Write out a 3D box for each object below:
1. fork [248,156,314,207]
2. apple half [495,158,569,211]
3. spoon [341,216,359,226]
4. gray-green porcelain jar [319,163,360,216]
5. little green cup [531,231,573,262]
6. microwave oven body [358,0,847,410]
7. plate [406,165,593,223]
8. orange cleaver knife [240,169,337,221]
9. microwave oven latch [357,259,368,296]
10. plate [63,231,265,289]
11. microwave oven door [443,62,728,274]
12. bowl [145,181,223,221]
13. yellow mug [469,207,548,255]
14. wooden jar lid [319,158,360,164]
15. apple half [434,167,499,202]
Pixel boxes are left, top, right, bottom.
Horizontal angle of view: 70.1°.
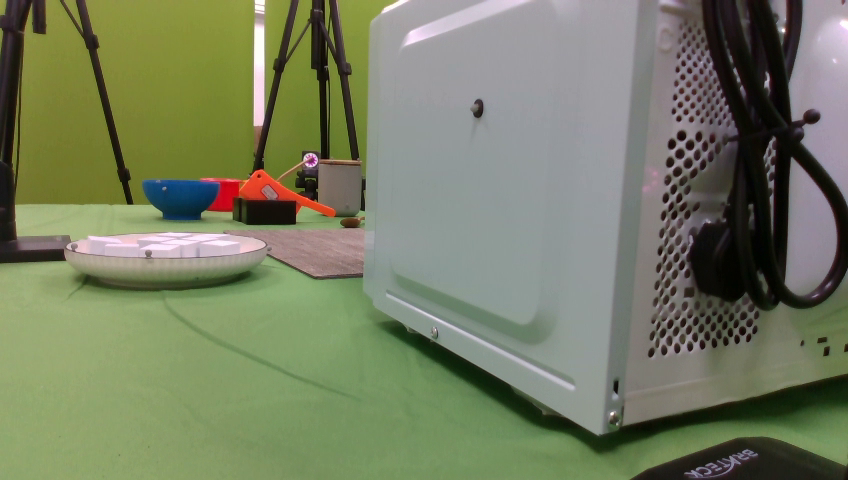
[{"bbox_3d":[-0.360,-0.147,1.523,0.207,0.019,0.028,-43,17,-6],"label":"fork"},{"bbox_3d":[0.122,-0.064,0.673,0.075,0.053,0.080,3,12,-12],"label":"apple half"},{"bbox_3d":[-0.132,-0.048,1.305,0.041,0.021,0.194,-14,4,14],"label":"spoon"},{"bbox_3d":[-0.204,-0.126,1.490,0.106,0.126,0.106,2,8,0],"label":"gray-green porcelain jar"},{"bbox_3d":[0.185,0.010,0.879,0.061,0.038,0.061,2,8,0],"label":"little green cup"},{"bbox_3d":[0.210,-0.051,0.471,0.444,0.260,0.324,-1,7,-28],"label":"microwave oven body"},{"bbox_3d":[0.083,-0.053,0.682,0.209,0.038,0.209,4,14,-1],"label":"plate"},{"bbox_3d":[-0.287,-0.081,1.299,0.212,0.077,0.012,25,-2,-31],"label":"orange cleaver knife"},{"bbox_3d":[-0.019,0.031,0.529,0.079,0.029,0.030,-1,7,-26],"label":"microwave oven latch"},{"bbox_3d":[-0.288,0.021,0.687,0.208,0.039,0.207,2,8,0],"label":"plate"},{"bbox_3d":[0.189,-0.097,0.785,0.354,0.243,0.039,6,10,31],"label":"microwave oven door"},{"bbox_3d":[-0.499,-0.082,1.261,0.151,0.077,0.151,2,8,0],"label":"bowl"},{"bbox_3d":[0.136,-0.015,0.951,0.131,0.064,0.099,2,7,-20],"label":"yellow mug"},{"bbox_3d":[-0.203,-0.189,1.482,0.108,0.020,0.108,2,10,0],"label":"wooden jar lid"},{"bbox_3d":[0.053,-0.070,0.715,0.081,0.033,0.081,8,18,-2],"label":"apple half"}]
